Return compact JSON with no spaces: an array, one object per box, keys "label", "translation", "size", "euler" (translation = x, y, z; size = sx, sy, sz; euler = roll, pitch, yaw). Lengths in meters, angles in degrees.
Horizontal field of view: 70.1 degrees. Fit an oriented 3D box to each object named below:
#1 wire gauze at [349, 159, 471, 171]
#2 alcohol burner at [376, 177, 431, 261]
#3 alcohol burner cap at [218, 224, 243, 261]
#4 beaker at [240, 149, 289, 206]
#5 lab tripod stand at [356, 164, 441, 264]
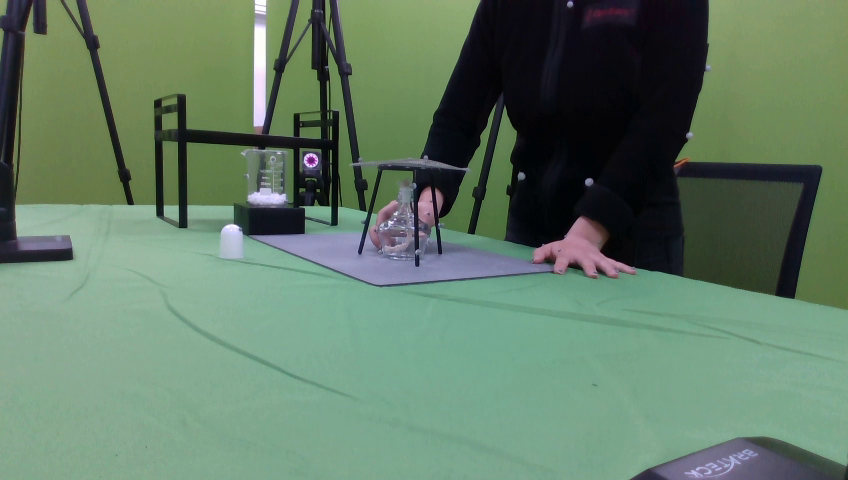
[{"label":"wire gauze","translation":[-0.019,-0.106,0.847],"size":[0.121,0.011,0.126],"euler":[8,7,42]},{"label":"alcohol burner","translation":[-0.029,-0.030,0.858],"size":[0.078,0.119,0.078],"euler":[2,9,0]},{"label":"alcohol burner cap","translation":[-0.263,0.002,0.824],"size":[0.034,0.048,0.034],"euler":[5,9,0]},{"label":"beaker","translation":[-0.286,-0.112,1.086],"size":[0.084,0.100,0.073],"euler":[-1,9,-23]},{"label":"lab tripod stand","translation":[-0.023,-0.040,0.859],"size":[0.148,0.131,0.148],"euler":[2,5,0]}]
